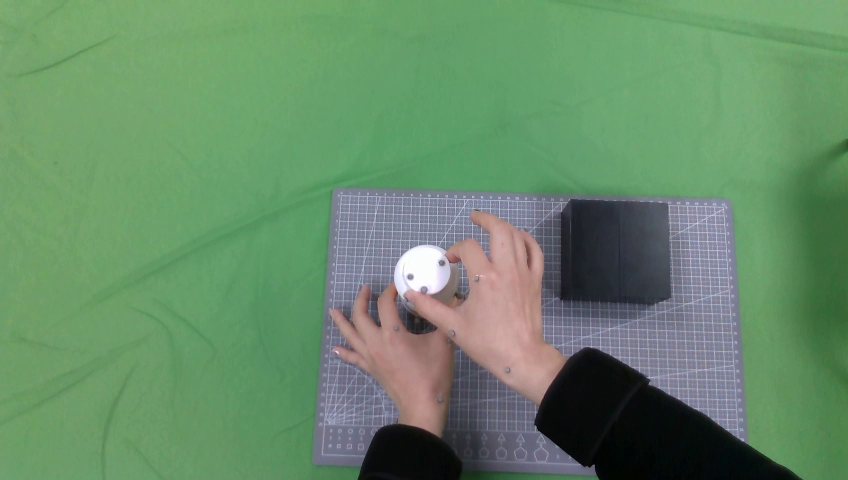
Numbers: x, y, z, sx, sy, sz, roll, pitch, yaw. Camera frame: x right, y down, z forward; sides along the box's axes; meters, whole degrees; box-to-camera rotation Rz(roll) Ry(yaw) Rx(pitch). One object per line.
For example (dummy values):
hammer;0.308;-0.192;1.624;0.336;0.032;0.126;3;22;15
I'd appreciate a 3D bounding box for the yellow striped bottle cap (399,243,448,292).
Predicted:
yellow striped bottle cap;0.000;0.025;0.549;0.044;0.019;0.044;1;83;-6

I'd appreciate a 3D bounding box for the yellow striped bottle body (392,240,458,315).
yellow striped bottle body;0.001;0.038;0.605;0.063;0.121;0.062;0;77;1
